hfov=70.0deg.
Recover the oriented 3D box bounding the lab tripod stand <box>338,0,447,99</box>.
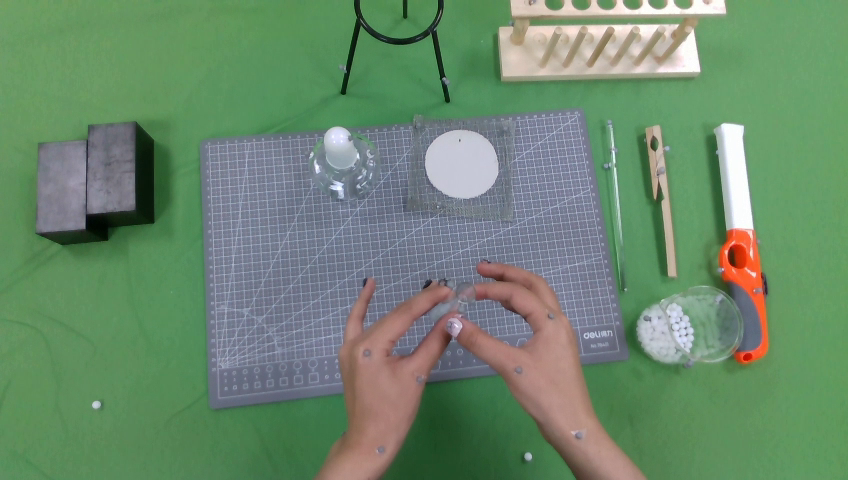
[{"bbox_3d":[-0.033,-0.221,0.666,0.148,0.132,0.147,1,79,-3],"label":"lab tripod stand"}]

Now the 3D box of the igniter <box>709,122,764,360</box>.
[{"bbox_3d":[0.356,-0.003,0.693,0.057,0.025,0.275,4,77,-13],"label":"igniter"}]

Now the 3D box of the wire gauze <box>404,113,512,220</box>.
[{"bbox_3d":[0.041,-0.088,0.702,0.125,0.011,0.121,5,78,-3],"label":"wire gauze"}]

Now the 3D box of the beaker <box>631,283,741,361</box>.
[{"bbox_3d":[0.263,0.087,0.631,0.084,0.100,0.074,25,76,4],"label":"beaker"}]

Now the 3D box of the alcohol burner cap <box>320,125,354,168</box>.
[{"bbox_3d":[-0.088,-0.096,0.605,0.034,0.048,0.033,1,71,-3],"label":"alcohol burner cap"}]

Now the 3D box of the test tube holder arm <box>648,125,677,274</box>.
[{"bbox_3d":[0.275,-0.048,0.701,0.013,0.015,0.177,-12,75,30],"label":"test tube holder arm"}]

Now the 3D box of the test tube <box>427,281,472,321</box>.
[{"bbox_3d":[0.019,0.053,0.508,0.017,0.150,0.017,2,77,-7],"label":"test tube"}]

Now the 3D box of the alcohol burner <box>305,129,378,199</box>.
[{"bbox_3d":[-0.089,-0.087,0.639,0.078,0.119,0.077,0,77,-1],"label":"alcohol burner"}]

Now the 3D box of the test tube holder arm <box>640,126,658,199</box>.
[{"bbox_3d":[0.267,-0.091,0.714,0.010,0.015,0.087,-11,76,30],"label":"test tube holder arm"}]

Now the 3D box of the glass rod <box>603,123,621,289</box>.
[{"bbox_3d":[0.218,-0.042,0.703,0.008,0.008,0.199,0,79,-4],"label":"glass rod"}]

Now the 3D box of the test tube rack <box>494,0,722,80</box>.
[{"bbox_3d":[0.210,-0.240,0.708,0.242,0.085,0.066,-2,77,-4],"label":"test tube rack"}]
